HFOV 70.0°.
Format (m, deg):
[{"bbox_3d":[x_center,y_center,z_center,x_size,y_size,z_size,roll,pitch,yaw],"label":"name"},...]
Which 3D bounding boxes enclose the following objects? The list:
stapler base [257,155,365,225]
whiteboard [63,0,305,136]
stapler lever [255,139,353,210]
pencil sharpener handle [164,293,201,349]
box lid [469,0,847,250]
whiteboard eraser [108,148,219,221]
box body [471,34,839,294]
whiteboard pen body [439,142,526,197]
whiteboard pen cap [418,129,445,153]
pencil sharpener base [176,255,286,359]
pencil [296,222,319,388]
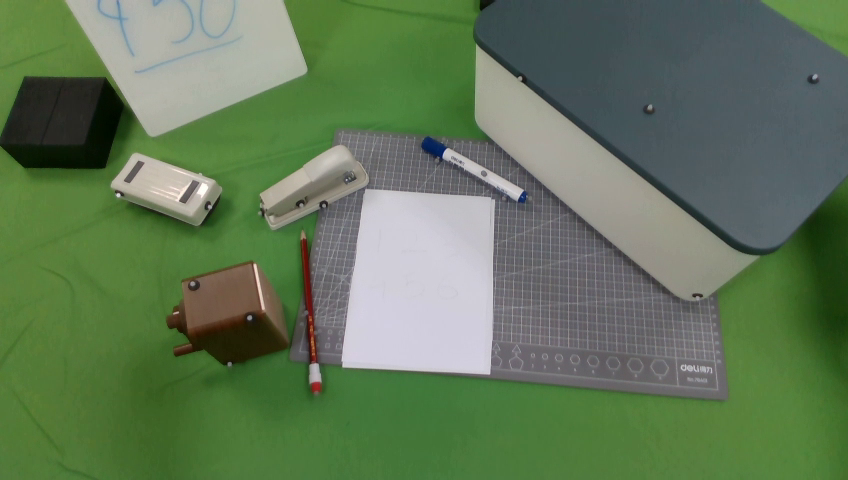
[{"bbox_3d":[-0.133,-0.065,0.707,0.130,0.024,0.041,-28,63,-9],"label":"stapler base"},{"bbox_3d":[-0.306,-0.320,0.708,0.217,0.308,0.142,-27,48,-11],"label":"whiteboard"},{"bbox_3d":[-0.136,-0.075,0.684,0.118,0.040,0.026,-28,63,-9],"label":"stapler lever"},{"bbox_3d":[-0.236,0.082,0.579,0.031,0.068,0.035,-16,49,-7],"label":"pencil sharpener handle"},{"bbox_3d":[0.251,-0.182,0.604,0.263,0.015,0.369,-39,71,-17],"label":"box lid"},{"bbox_3d":[-0.298,-0.063,0.697,0.112,0.042,0.055,20,68,8],"label":"whiteboard eraser"},{"bbox_3d":[0.253,-0.148,0.670,0.254,0.161,0.361,-40,70,-17],"label":"box body"},{"bbox_3d":[0.058,-0.090,0.717,0.140,0.017,0.017,32,68,16],"label":"whiteboard pen body"},{"bbox_3d":[0.010,-0.119,0.734,0.033,0.018,0.018,32,68,16],"label":"whiteboard pen cap"},{"bbox_3d":[-0.189,0.070,0.598,0.077,0.108,0.061,-16,66,-7],"label":"pencil sharpener base"},{"bbox_3d":[-0.128,0.064,0.654,0.012,0.012,0.192,-9,65,-4],"label":"pencil"}]
